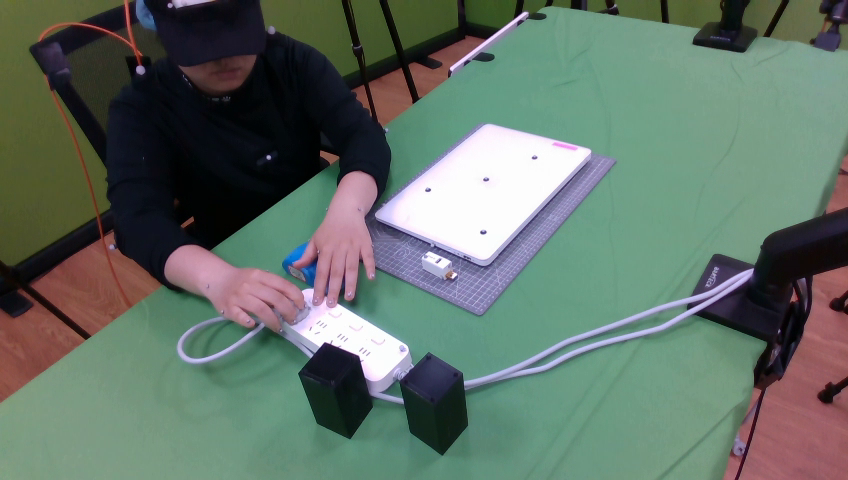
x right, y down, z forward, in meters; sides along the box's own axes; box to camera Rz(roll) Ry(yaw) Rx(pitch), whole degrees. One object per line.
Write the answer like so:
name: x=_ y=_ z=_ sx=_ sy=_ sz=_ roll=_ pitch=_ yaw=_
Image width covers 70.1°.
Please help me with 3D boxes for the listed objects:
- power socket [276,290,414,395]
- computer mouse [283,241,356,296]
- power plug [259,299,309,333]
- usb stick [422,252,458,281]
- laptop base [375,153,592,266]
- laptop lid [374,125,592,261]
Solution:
power socket: x=-0.114 y=0.133 z=0.820 sx=0.225 sy=0.033 sz=0.072 roll=25 pitch=49 yaw=33
computer mouse: x=-0.163 y=0.041 z=0.935 sx=0.116 sy=0.041 sz=0.063 roll=27 pitch=49 yaw=30
power plug: x=-0.193 y=0.108 z=0.838 sx=0.073 sy=0.053 sz=0.035 roll=-33 pitch=51 yaw=-11
usb stick: x=0.025 y=0.042 z=0.908 sx=0.058 sy=0.027 sz=0.021 roll=27 pitch=49 yaw=31
laptop base: x=0.112 y=-0.091 z=1.063 sx=0.233 sy=0.023 sz=0.355 roll=21 pitch=48 yaw=34
laptop lid: x=0.109 y=-0.101 z=1.057 sx=0.239 sy=0.013 sz=0.358 roll=23 pitch=48 yaw=34
